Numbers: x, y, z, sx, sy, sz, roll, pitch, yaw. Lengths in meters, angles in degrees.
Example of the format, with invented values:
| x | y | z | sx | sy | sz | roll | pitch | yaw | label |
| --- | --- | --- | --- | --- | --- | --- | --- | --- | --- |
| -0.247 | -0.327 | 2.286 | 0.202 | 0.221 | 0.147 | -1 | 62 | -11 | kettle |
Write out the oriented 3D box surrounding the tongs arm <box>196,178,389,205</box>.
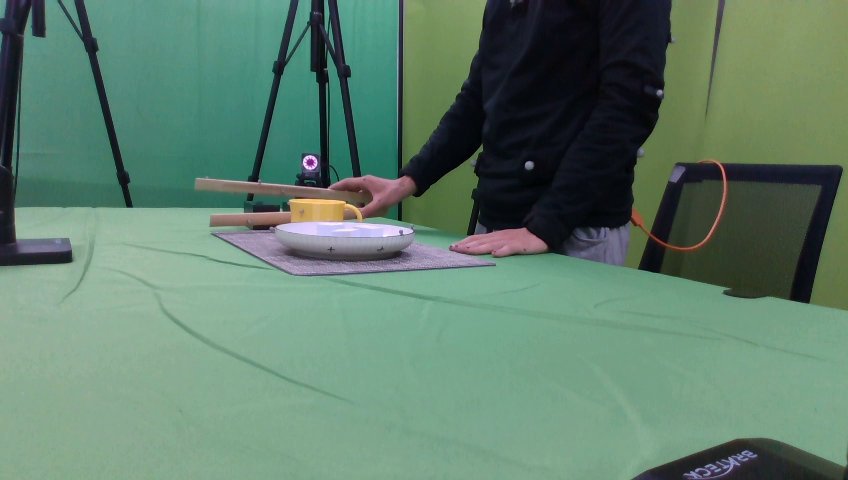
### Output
| x | y | z | sx | sy | sz | roll | pitch | yaw | label |
| --- | --- | --- | --- | --- | --- | --- | --- | --- | --- |
| -0.254 | -0.092 | 1.223 | 0.387 | 0.026 | 0.050 | 1 | 30 | -30 | tongs arm |

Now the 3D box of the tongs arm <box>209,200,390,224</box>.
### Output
| x | y | z | sx | sy | sz | roll | pitch | yaw | label |
| --- | --- | --- | --- | --- | --- | --- | --- | --- | --- |
| -0.221 | -0.054 | 1.173 | 0.390 | 0.028 | 0.028 | -6 | 30 | -39 | tongs arm |

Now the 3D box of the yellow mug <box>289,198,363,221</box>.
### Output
| x | y | z | sx | sy | sz | roll | pitch | yaw | label |
| --- | --- | --- | --- | --- | --- | --- | --- | --- | --- |
| -0.174 | -0.039 | 1.072 | 0.131 | 0.064 | 0.100 | 3 | 7 | 0 | yellow mug |

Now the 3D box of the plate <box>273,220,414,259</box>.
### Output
| x | y | z | sx | sy | sz | roll | pitch | yaw | label |
| --- | --- | --- | --- | --- | --- | --- | --- | --- | --- |
| -0.118 | -0.001 | 0.903 | 0.208 | 0.039 | 0.207 | 3 | 7 | 0 | plate |
